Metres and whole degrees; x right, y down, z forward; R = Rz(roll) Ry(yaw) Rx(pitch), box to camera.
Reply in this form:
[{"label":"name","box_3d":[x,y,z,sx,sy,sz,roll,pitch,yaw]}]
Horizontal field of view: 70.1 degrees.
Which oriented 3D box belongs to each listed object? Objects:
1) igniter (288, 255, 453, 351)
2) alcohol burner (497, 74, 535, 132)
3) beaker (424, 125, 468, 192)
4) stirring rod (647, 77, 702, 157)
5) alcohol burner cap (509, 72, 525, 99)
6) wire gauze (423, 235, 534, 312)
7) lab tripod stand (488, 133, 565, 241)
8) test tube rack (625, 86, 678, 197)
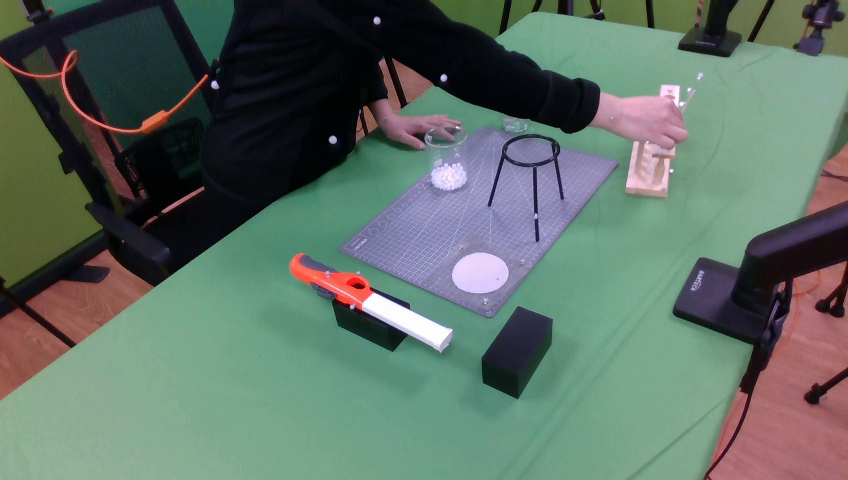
[{"label":"igniter","box_3d":[-0.082,0.079,0.818,0.274,0.025,0.057,22,46,27]},{"label":"alcohol burner","box_3d":[0.184,-0.278,1.210,0.078,0.119,0.077,-3,43,3]},{"label":"beaker","box_3d":[0.043,-0.144,1.078,0.073,0.100,0.084,28,51,34]},{"label":"stirring rod","box_3d":[0.401,-0.194,0.976,0.014,0.176,0.006,-15,60,-17]},{"label":"alcohol burner cap","box_3d":[0.181,-0.306,1.186,0.034,0.048,0.033,-7,39,6]},{"label":"wire gauze","box_3d":[0.082,0.049,0.914,0.120,0.011,0.125,26,53,32]},{"label":"lab tripod stand","box_3d":[0.169,-0.093,0.972,0.148,0.132,0.147,-5,41,5]},{"label":"test tube rack","box_3d":[0.412,-0.184,1.088,0.066,0.085,0.242,9,43,18]}]
